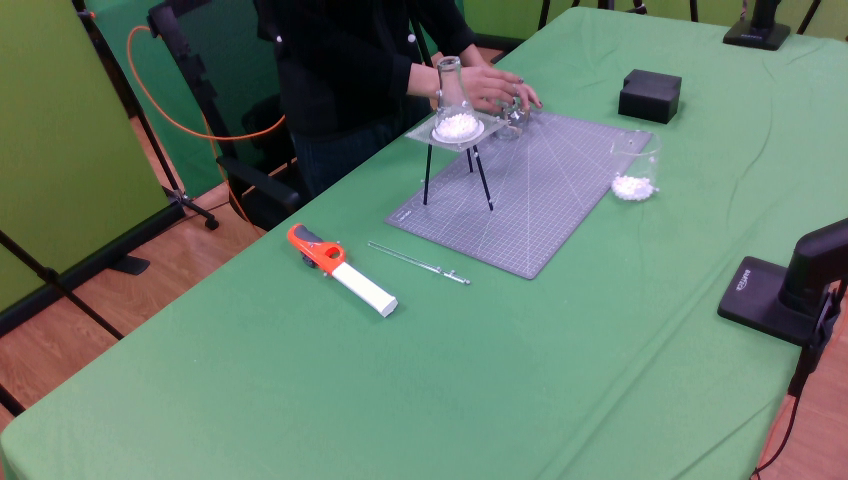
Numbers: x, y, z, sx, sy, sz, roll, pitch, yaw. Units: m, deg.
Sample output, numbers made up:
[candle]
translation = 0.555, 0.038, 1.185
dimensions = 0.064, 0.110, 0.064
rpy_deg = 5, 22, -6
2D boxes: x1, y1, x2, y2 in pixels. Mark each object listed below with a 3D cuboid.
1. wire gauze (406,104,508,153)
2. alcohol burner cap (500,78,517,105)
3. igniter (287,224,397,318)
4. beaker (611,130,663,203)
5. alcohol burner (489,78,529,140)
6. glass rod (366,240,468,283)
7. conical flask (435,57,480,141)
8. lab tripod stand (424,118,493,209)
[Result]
[wire gauze]
translation = 0.054, -0.183, 0.997
dimensions = 0.120, 0.011, 0.125
rpy_deg = 25, 53, 38
[alcohol burner cap]
translation = 0.162, -0.286, 1.160
dimensions = 0.034, 0.048, 0.033
rpy_deg = -4, 45, 4
[igniter]
translation = -0.139, 0.042, 0.958
dimensions = 0.057, 0.025, 0.274
rpy_deg = -42, 49, -19
[beaker]
translation = 0.346, -0.118, 0.998
dimensions = 0.084, 0.101, 0.073
rpy_deg = -17, 40, -7
[alcohol burner]
translation = 0.166, -0.259, 1.184
dimensions = 0.078, 0.119, 0.077
rpy_deg = -6, 38, 5
[glass rod]
translation = -0.015, 0.032, 0.959
dimensions = 0.198, 0.008, 0.008
rpy_deg = 21, 49, 30
[conical flask]
translation = 0.046, -0.225, 0.955
dimensions = 0.075, 0.122, 0.075
rpy_deg = -7, 39, 6
[lab tripod stand]
translation = 0.061, -0.133, 1.038
dimensions = 0.148, 0.132, 0.147
rpy_deg = -6, 38, 6
